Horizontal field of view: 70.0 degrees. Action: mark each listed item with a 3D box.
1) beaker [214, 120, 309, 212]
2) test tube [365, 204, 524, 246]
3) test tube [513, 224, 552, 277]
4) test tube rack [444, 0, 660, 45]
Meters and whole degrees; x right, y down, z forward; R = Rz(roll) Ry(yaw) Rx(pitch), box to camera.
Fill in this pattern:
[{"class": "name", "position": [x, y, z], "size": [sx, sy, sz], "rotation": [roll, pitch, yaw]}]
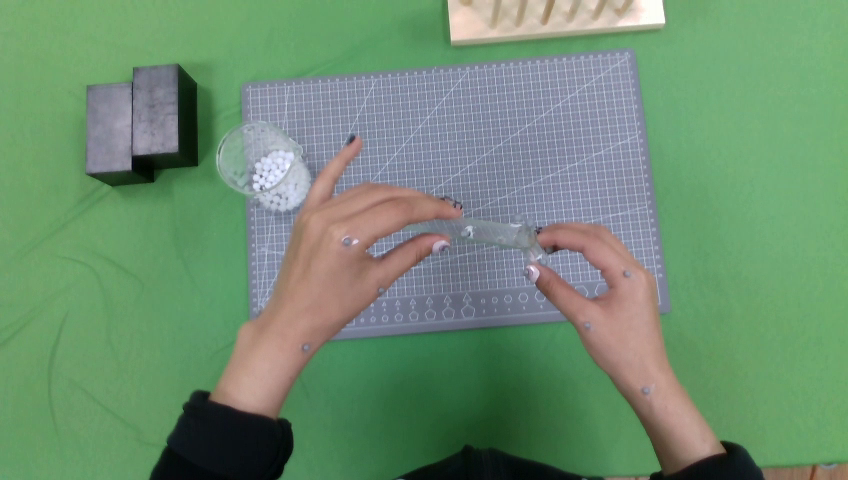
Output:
[{"class": "beaker", "position": [-0.161, -0.073, 0.631], "size": [0.084, 0.100, 0.073], "rotation": [-12, 81, -1]}, {"class": "test tube", "position": [0.008, -0.012, 0.435], "size": [0.149, 0.017, 0.017], "rotation": [10, 78, 44]}, {"class": "test tube", "position": [0.089, 0.012, 0.482], "size": [0.017, 0.151, 0.017], "rotation": [-3, 77, 16]}, {"class": "test tube rack", "position": [0.144, -0.274, 0.663], "size": [0.242, 0.085, 0.066], "rotation": [-4, 81, 1]}]
